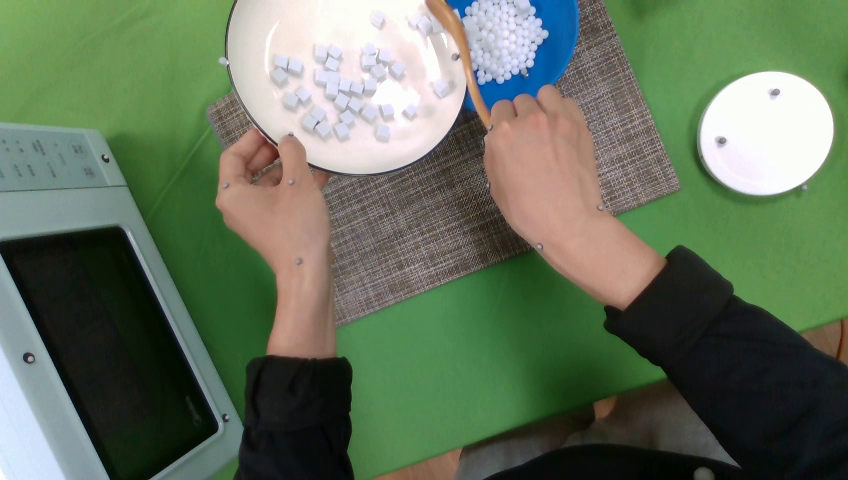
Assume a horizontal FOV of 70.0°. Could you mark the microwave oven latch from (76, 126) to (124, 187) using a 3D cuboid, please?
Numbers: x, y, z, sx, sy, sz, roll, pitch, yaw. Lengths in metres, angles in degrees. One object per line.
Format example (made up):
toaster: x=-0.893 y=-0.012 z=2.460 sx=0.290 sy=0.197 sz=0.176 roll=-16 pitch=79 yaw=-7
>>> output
microwave oven latch: x=-0.399 y=-0.098 z=0.735 sx=0.030 sy=0.029 sz=0.079 roll=-25 pitch=92 yaw=16

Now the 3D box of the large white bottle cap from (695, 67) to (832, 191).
large white bottle cap: x=0.317 y=-0.103 z=0.569 sx=0.114 sy=0.018 sz=0.115 roll=2 pitch=98 yaw=14

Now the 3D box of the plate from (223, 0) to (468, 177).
plate: x=-0.065 y=-0.155 z=0.532 sx=0.210 sy=0.038 sz=0.208 roll=2 pitch=83 yaw=-17

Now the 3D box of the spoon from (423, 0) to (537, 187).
spoon: x=0.046 y=-0.126 z=0.508 sx=0.041 sy=0.022 sz=0.192 roll=-31 pitch=68 yaw=23

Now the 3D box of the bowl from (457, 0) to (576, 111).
bowl: x=0.072 y=-0.199 z=0.586 sx=0.151 sy=0.077 sz=0.151 roll=2 pitch=99 yaw=15

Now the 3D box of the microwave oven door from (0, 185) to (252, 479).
microwave oven door: x=-0.333 y=0.113 z=0.642 sx=0.039 sy=0.244 sz=0.355 roll=-26 pitch=90 yaw=17

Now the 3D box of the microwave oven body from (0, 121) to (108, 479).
microwave oven body: x=-0.476 y=0.135 z=0.689 sx=0.326 sy=0.260 sz=0.441 roll=-26 pitch=91 yaw=16
